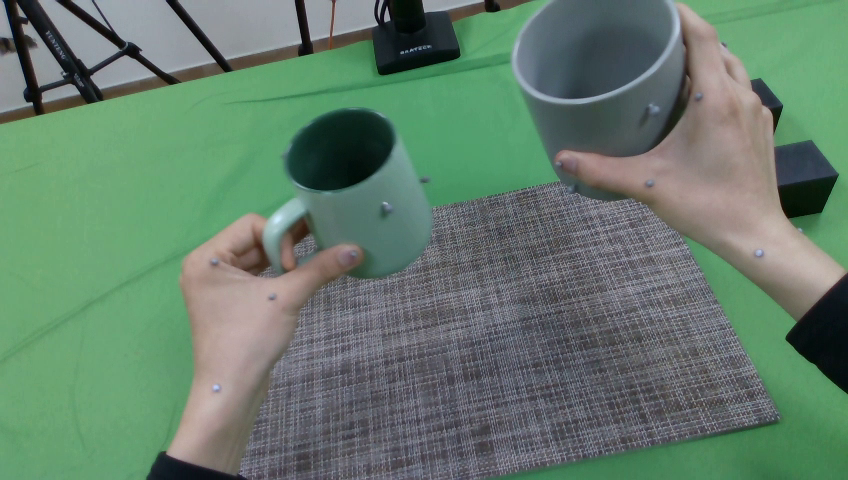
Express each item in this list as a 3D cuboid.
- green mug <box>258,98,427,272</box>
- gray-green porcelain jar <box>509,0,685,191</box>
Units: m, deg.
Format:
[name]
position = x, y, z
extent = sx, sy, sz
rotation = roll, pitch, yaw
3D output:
[green mug]
position = -0.062, -0.026, 0.436
extent = 0.125, 0.106, 0.091
rotation = -42, 58, -16
[gray-green porcelain jar]
position = 0.127, -0.104, 0.430
extent = 0.105, 0.128, 0.105
rotation = -12, 57, 20
